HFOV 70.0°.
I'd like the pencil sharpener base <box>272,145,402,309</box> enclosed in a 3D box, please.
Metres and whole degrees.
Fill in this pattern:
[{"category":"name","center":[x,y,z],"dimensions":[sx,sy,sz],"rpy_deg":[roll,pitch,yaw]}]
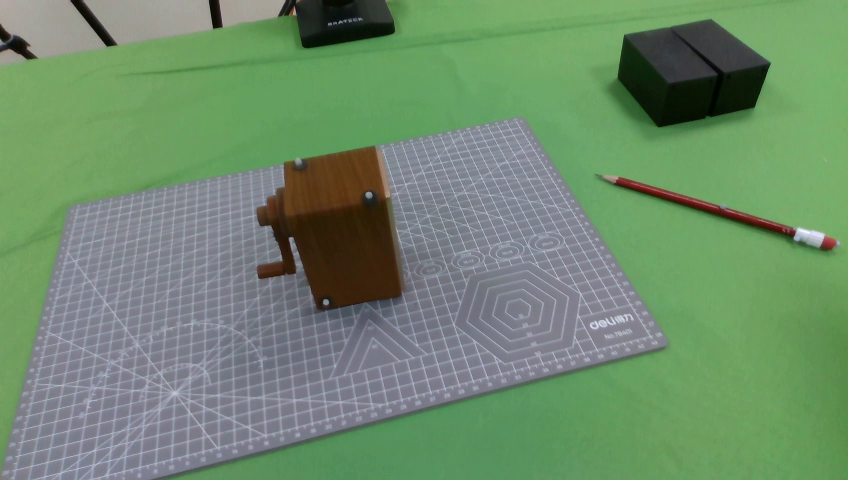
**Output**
[{"category":"pencil sharpener base","center":[-0.062,-0.006,0.447],"dimensions":[0.077,0.108,0.060],"rpy_deg":[-11,46,-4]}]

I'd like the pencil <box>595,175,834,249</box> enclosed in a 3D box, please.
[{"category":"pencil","center":[0.238,-0.028,0.514],"dimensions":[0.192,0.012,0.012],"rpy_deg":[21,51,25]}]

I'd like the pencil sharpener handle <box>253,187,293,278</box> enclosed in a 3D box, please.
[{"category":"pencil sharpener handle","center":[-0.112,-0.003,0.430],"dimensions":[0.031,0.068,0.035],"rpy_deg":[-11,30,-4]}]
